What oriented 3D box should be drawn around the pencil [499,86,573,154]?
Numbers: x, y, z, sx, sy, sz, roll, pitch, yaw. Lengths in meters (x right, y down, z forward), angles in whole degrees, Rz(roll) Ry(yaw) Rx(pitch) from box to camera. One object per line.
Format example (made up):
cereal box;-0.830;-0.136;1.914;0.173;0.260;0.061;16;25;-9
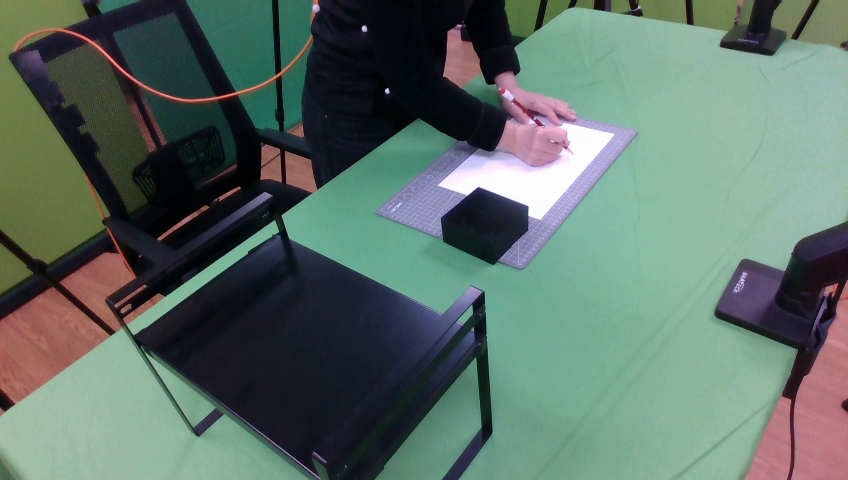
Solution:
pencil;0.207;-0.213;1.095;0.012;0.195;0.012;-42;25;26
